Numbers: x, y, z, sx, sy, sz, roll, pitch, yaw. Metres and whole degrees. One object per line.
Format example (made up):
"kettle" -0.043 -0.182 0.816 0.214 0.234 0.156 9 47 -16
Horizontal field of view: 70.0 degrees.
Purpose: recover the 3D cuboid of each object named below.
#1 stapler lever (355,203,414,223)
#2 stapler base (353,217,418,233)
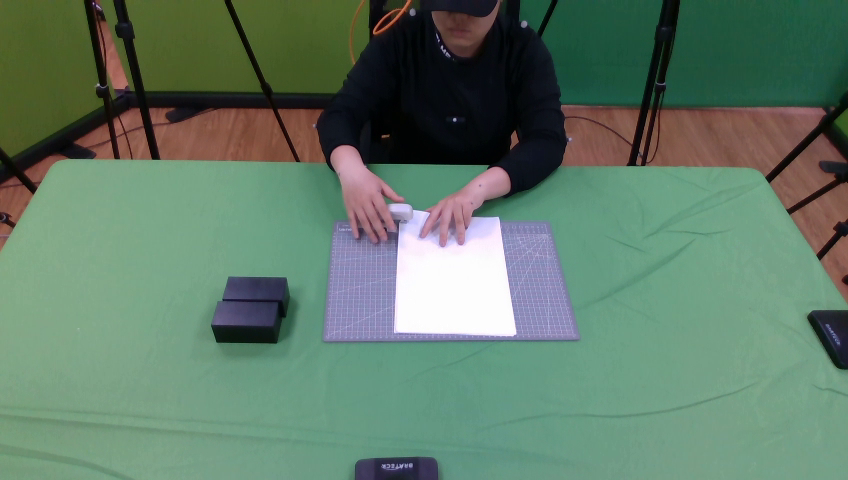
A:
"stapler lever" -0.079 -0.058 1.208 0.118 0.040 0.026 8 43 4
"stapler base" -0.078 -0.041 1.225 0.130 0.024 0.041 7 43 5
